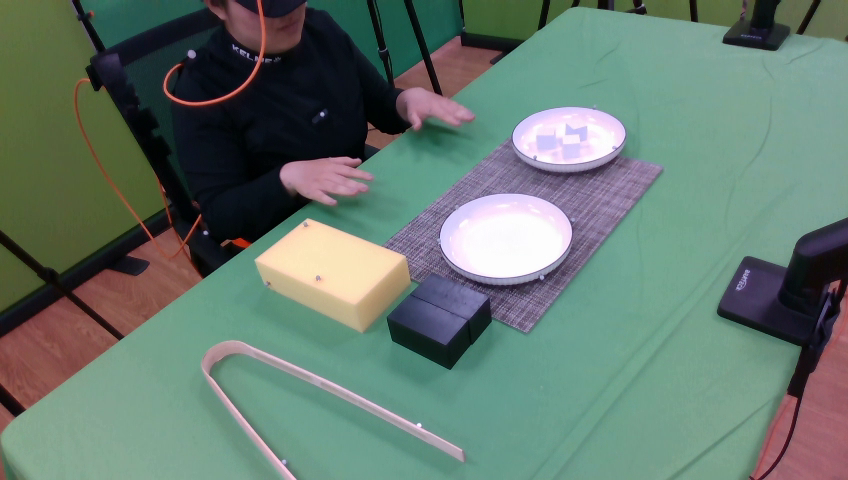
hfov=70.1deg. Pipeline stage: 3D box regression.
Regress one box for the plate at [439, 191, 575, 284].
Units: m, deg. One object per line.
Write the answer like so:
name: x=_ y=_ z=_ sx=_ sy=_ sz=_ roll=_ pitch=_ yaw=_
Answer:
plate: x=0.129 y=-0.002 z=0.942 sx=0.207 sy=0.039 sz=0.206 roll=-5 pitch=40 yaw=5

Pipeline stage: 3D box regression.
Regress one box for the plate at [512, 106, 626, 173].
plate: x=0.269 y=-0.185 z=1.132 sx=0.209 sy=0.038 sz=0.208 roll=-5 pitch=40 yaw=5

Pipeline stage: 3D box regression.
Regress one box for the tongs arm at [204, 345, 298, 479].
tongs arm: x=-0.170 y=0.238 z=0.721 sx=0.381 sy=0.026 sz=0.051 roll=28 pitch=52 yaw=37

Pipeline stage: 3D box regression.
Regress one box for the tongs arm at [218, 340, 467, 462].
tongs arm: x=-0.117 y=0.196 z=0.767 sx=0.385 sy=0.028 sz=0.028 roll=16 pitch=49 yaw=28

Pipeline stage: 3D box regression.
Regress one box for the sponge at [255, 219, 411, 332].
sponge: x=-0.139 y=0.048 z=0.921 sx=0.205 sy=0.061 sz=0.118 roll=19 pitch=47 yaw=30
